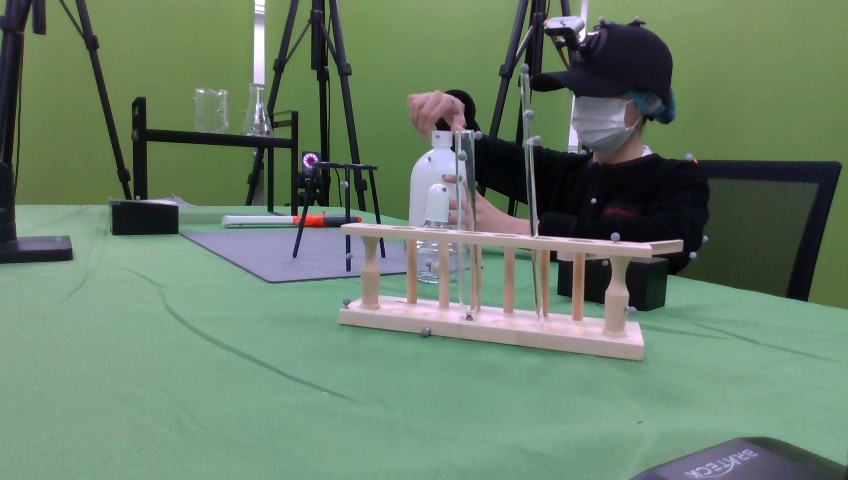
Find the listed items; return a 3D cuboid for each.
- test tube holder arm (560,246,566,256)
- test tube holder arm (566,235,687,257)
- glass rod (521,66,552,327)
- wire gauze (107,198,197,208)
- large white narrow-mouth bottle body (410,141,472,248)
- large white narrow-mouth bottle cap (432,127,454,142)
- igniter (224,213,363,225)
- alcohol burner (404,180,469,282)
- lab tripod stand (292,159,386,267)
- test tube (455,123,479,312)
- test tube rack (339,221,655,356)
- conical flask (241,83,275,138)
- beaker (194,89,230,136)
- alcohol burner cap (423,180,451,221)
[{"bbox_3d":[0.173,0.007,0.611,0.088,0.015,0.010,-3,9,-30],"label":"test tube holder arm"},{"bbox_3d":[0.215,0.006,0.629,0.179,0.015,0.013,-3,9,-30],"label":"test tube holder arm"},{"bbox_3d":[0.085,-0.028,0.454,0.008,0.199,0.008,-7,10,2],"label":"glass rod"},{"bbox_3d":[-0.462,-0.064,1.023,0.126,0.011,0.121,-2,7,-32],"label":"wire gauze"},{"bbox_3d":[0.029,-0.088,1.005,0.102,0.194,0.102,2,8,0],"label":"large white narrow-mouth bottle body"},{"bbox_3d":[0.031,-0.173,0.992,0.038,0.024,0.037,2,8,0],"label":"large white narrow-mouth bottle cap"},{"bbox_3d":[-0.255,-0.041,1.210,0.278,0.025,0.057,-2,-2,-31],"label":"igniter"},{"bbox_3d":[0.015,-0.011,0.715,0.078,0.119,0.078,0,7,0],"label":"alcohol burner"},{"bbox_3d":[-0.105,-0.039,0.797,0.148,0.131,0.148,2,5,0],"label":"lab tripod stand"},{"bbox_3d":[0.034,-0.016,0.476,0.017,0.150,0.017,-2,10,1],"label":"test tube"},{"bbox_3d":[0.056,0.032,0.495,0.242,0.085,0.067,4,7,15],"label":"test tube rack"},{"bbox_3d":[-0.383,-0.297,1.392,0.075,0.122,0.075,2,7,0],"label":"conical flask"},{"bbox_3d":[-0.472,-0.283,1.352,0.074,0.100,0.083,-4,10,-35],"label":"beaker"},{"bbox_3d":[0.017,-0.047,0.711,0.034,0.048,0.034,8,5,0],"label":"alcohol burner cap"}]
